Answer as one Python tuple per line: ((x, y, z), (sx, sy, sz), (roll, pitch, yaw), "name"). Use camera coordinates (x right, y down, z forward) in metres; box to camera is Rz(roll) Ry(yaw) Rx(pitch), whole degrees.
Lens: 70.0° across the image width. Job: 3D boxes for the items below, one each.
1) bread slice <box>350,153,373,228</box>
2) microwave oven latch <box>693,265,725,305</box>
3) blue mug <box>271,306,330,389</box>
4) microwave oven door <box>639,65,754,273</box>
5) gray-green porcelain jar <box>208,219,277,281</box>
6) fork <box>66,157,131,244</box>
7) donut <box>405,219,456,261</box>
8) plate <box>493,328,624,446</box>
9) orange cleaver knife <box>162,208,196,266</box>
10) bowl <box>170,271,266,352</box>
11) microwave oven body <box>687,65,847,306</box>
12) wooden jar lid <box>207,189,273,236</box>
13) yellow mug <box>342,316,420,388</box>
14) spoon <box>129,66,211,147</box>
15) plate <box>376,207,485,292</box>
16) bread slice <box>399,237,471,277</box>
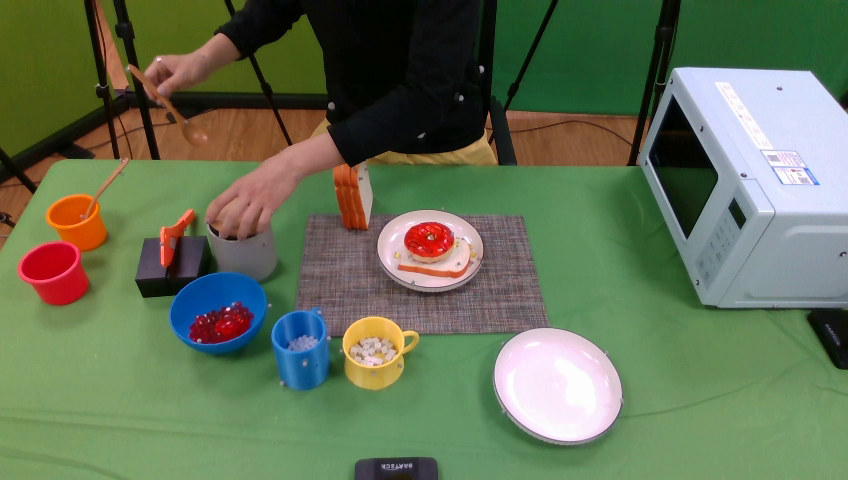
((-0.124, -0.104, 1.207), (0.018, 0.135, 0.106), (-1, 48, 7), "bread slice")
((0.523, 0.082, 1.115), (0.030, 0.029, 0.078), (2, 46, -1), "microwave oven latch")
((-0.188, 0.163, 0.969), (0.082, 0.106, 0.116), (15, 47, 10), "blue mug")
((0.522, -0.147, 1.192), (0.039, 0.245, 0.353), (0, 47, -3), "microwave oven door")
((-0.323, 0.007, 1.092), (0.106, 0.127, 0.105), (2, 46, -2), "gray-green porcelain jar")
((-0.608, -0.074, 1.132), (0.207, 0.019, 0.028), (-52, 50, 10), "fork")
((0.012, -0.001, 1.140), (0.099, 0.048, 0.098), (0, 44, 0), "donut")
((0.213, 0.236, 0.974), (0.208, 0.039, 0.206), (2, 46, -2), "plate")
((-0.454, -0.010, 1.129), (0.012, 0.077, 0.210), (-2, 17, -6), "orange cleaver knife")
((-0.333, 0.132, 1.006), (0.151, 0.077, 0.150), (2, 46, -2), "bowl")
((0.669, -0.111, 1.176), (0.326, 0.261, 0.439), (0, 46, -3), "microwave oven body")
((-0.315, -0.046, 1.042), (0.108, 0.021, 0.107), (3, 44, -3), "wooden jar lid")
((-0.068, 0.177, 0.990), (0.131, 0.064, 0.099), (-15, 50, -19), "yellow mug")
((-0.478, -0.251, 1.146), (0.021, 0.195, 0.041), (8, 55, 41), "spoon")
((0.012, 0.021, 1.159), (0.209, 0.038, 0.208), (2, 47, -2), "plate")
((0.025, 0.026, 1.161), (0.131, 0.019, 0.104), (6, 47, 8), "bread slice")
